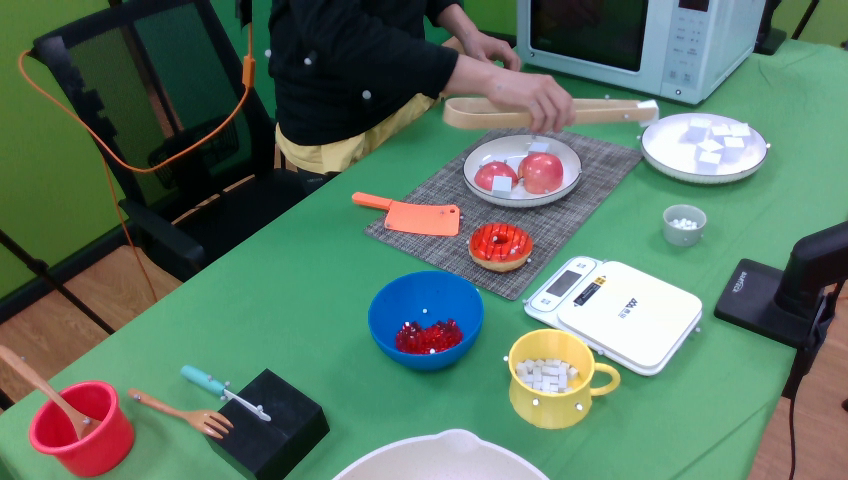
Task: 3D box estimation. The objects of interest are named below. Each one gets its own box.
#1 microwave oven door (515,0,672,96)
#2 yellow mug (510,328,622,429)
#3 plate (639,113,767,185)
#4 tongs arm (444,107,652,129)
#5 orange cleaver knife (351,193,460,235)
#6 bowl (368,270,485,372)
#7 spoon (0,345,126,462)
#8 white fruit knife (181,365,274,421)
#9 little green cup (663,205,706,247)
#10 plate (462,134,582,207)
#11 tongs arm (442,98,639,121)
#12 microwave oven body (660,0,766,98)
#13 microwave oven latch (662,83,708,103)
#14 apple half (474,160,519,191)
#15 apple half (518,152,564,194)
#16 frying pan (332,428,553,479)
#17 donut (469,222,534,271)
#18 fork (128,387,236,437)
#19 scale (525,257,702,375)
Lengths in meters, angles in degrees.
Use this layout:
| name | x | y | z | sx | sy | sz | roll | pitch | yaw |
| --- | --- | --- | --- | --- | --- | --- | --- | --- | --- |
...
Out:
| name | x | y | z | sx | sy | sz | roll | pitch | yaw |
| --- | --- | --- | --- | --- | --- | --- | --- | --- | --- |
| microwave oven door | 0.343 | -0.455 | 1.259 | 0.353 | 0.245 | 0.039 | 26 | 51 | 33 |
| yellow mug | 0.168 | 0.164 | 0.721 | 0.130 | 0.064 | 0.099 | 0 | 40 | 8 |
| plate | 0.489 | -0.157 | 1.074 | 0.207 | 0.039 | 0.206 | -4 | 40 | 4 |
| tongs arm | 0.214 | -0.196 | 0.970 | 0.390 | 0.028 | 0.028 | -6 | 44 | -24 |
| orange cleaver knife | -0.036 | -0.044 | 1.029 | 0.210 | 0.012 | 0.077 | 10 | 48 | 18 |
| bowl | 0.007 | 0.118 | 0.791 | 0.151 | 0.077 | 0.150 | -4 | 40 | 4 |
| spoon | -0.434 | 0.192 | 0.720 | 0.194 | 0.021 | 0.042 | 47 | 53 | -6 |
| white fruit knife | -0.245 | 0.187 | 0.747 | 0.205 | 0.027 | 0.016 | 9 | 41 | 40 |
| little green cup | 0.396 | -0.020 | 0.926 | 0.061 | 0.039 | 0.061 | -4 | 40 | 4 |
| plate | 0.173 | -0.119 | 1.071 | 0.209 | 0.038 | 0.208 | -4 | 40 | 4 |
| tongs arm | 0.205 | -0.211 | 0.987 | 0.387 | 0.026 | 0.050 | -3 | 40 | -21 |
| microwave oven body | 0.472 | -0.513 | 1.317 | 0.438 | 0.261 | 0.327 | 26 | 51 | 34 |
| microwave oven latch | 0.518 | -0.296 | 1.204 | 0.078 | 0.029 | 0.030 | 28 | 52 | 35 |
| apple half | 0.131 | -0.120 | 1.068 | 0.081 | 0.033 | 0.081 | -4 | 37 | 3 |
| apple half | 0.204 | -0.124 | 1.048 | 0.075 | 0.053 | 0.080 | -5 | 41 | -2 |
| frying pan | -0.089 | 0.306 | 0.564 | 0.487 | 0.103 | 0.306 | 10 | 41 | 7 |
| donut | 0.118 | 0.009 | 0.923 | 0.099 | 0.048 | 0.098 | -3 | 39 | 3 |
| fork | -0.305 | 0.207 | 0.744 | 0.206 | 0.019 | 0.028 | 3 | 41 | 36 |
| scale | 0.254 | 0.091 | 0.821 | 0.199 | 0.032 | 0.149 | 28 | 51 | 35 |
